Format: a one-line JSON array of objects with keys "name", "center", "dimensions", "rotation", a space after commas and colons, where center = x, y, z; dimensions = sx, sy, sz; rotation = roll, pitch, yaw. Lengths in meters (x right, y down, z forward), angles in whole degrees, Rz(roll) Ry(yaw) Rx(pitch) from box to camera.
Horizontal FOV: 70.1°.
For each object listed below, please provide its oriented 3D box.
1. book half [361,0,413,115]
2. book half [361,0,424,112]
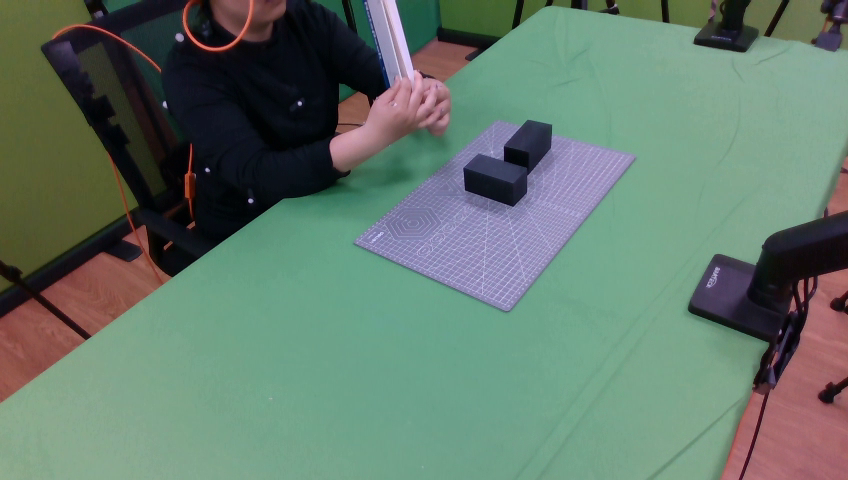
[{"name": "book half", "center": [-0.068, -0.329, 1.069], "dimensions": [0.007, 0.211, 0.142], "rotation": [-20, 22, -10]}, {"name": "book half", "center": [-0.057, -0.333, 1.076], "dimensions": [0.016, 0.211, 0.147], "rotation": [-22, 24, -14]}]
